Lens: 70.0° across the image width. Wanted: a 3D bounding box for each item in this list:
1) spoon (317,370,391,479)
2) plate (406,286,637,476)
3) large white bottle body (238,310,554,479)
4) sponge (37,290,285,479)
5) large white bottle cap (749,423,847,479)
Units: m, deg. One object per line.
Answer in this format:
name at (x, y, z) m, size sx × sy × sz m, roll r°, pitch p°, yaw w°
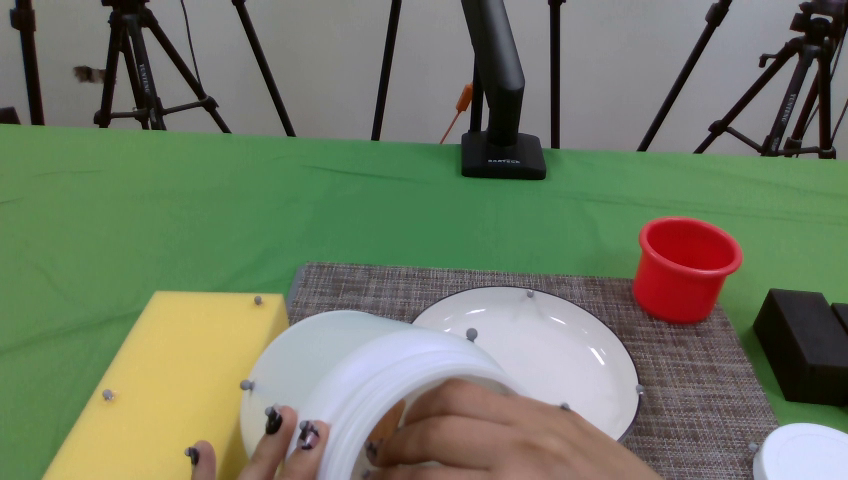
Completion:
spoon at (-0.027, 0.104, 0.304) m, size 0.042 × 0.022 × 0.192 m, roll -9°, pitch 14°, yaw -13°
plate at (0.075, 0.120, 0.529) m, size 0.209 × 0.038 × 0.207 m, roll 2°, pitch 36°, yaw -1°
large white bottle body at (-0.025, 0.110, 0.339) m, size 0.131 × 0.131 × 0.184 m, roll -17°, pitch 6°, yaw -25°
sponge at (-0.192, 0.129, 0.484) m, size 0.118 × 0.061 × 0.205 m, roll 1°, pitch 36°, yaw 1°
large white bottle cap at (0.312, 0.191, 0.463) m, size 0.115 × 0.018 × 0.113 m, roll 4°, pitch 37°, yaw -2°
